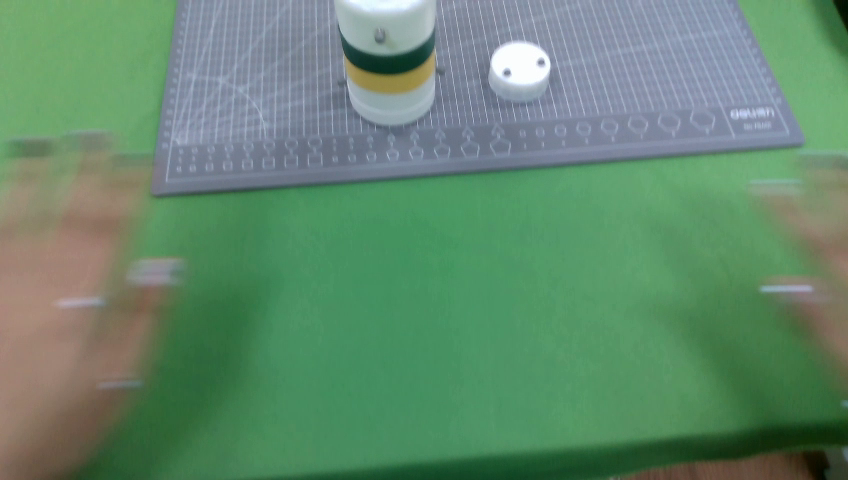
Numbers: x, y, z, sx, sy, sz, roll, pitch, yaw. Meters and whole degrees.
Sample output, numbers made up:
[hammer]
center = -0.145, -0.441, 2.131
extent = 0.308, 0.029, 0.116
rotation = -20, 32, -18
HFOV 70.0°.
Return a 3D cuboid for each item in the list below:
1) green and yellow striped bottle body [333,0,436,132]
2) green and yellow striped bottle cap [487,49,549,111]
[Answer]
[green and yellow striped bottle body]
center = -0.024, -0.132, 0.391
extent = 0.063, 0.120, 0.062
rotation = 0, 60, 0
[green and yellow striped bottle cap]
center = 0.069, -0.119, 0.446
extent = 0.045, 0.020, 0.045
rotation = 1, 62, -1
